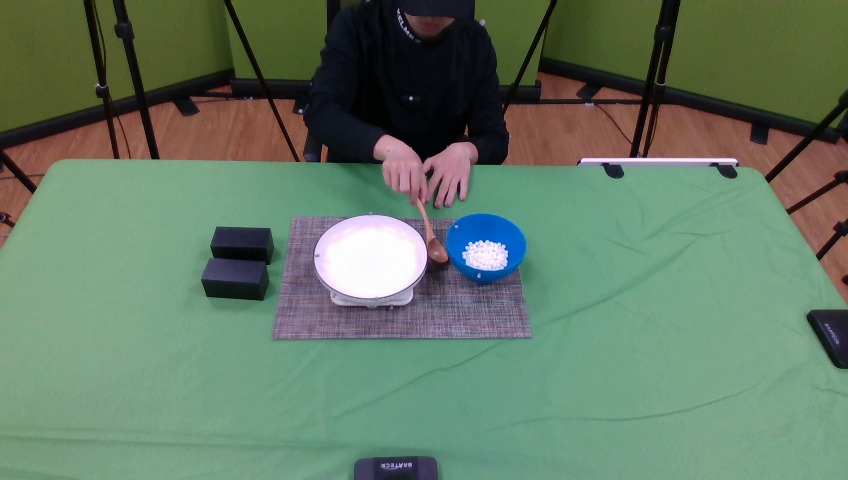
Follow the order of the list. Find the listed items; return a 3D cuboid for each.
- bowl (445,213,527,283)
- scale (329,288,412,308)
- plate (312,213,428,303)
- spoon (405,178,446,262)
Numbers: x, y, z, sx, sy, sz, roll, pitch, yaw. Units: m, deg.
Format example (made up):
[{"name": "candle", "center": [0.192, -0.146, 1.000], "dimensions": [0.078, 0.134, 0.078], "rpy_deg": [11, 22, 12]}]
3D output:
[{"name": "bowl", "center": [0.112, 0.027, 1.137], "dimensions": [0.151, 0.077, 0.150], "rpy_deg": [2, 46, -2]}, {"name": "scale", "center": [-0.098, 0.042, 1.139], "dimensions": [0.149, 0.032, 0.199], "rpy_deg": [1, 46, -4]}, {"name": "plate", "center": [-0.097, 0.036, 1.100], "dimensions": [0.209, 0.038, 0.208], "rpy_deg": [2, 46, -1]}, {"name": "spoon", "center": [-0.001, -0.041, 1.190], "dimensions": [0.042, 0.021, 0.193], "rpy_deg": [-7, 69, -32]}]
